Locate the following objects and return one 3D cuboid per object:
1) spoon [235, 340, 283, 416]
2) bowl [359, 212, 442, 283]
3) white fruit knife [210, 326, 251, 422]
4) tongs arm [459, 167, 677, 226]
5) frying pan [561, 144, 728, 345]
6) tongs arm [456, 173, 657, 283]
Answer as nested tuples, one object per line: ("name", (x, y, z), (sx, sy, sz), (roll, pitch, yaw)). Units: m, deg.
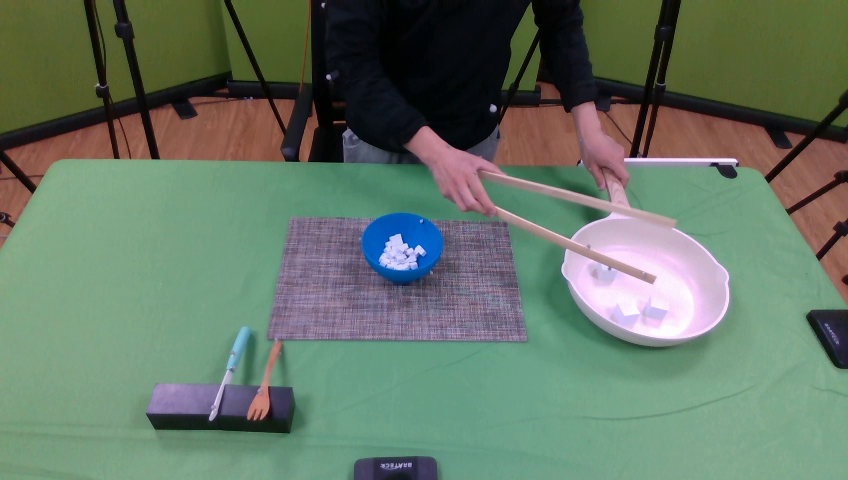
("spoon", (-0.245, 0.207, 0.932), (0.042, 0.022, 0.193), (28, 25, -8))
("bowl", (-0.044, 0.026, 1.125), (0.151, 0.077, 0.150), (2, 46, -2))
("white fruit knife", (-0.300, 0.201, 0.942), (0.016, 0.027, 0.206), (-2, 32, 1))
("tongs arm", (0.249, -0.079, 1.081), (0.387, 0.028, 0.028), (15, 65, 14))
("frying pan", (0.397, -0.008, 1.179), (0.307, 0.103, 0.485), (2, 55, -4))
("tongs arm", (0.218, -0.026, 1.050), (0.383, 0.026, 0.050), (24, 64, 18))
